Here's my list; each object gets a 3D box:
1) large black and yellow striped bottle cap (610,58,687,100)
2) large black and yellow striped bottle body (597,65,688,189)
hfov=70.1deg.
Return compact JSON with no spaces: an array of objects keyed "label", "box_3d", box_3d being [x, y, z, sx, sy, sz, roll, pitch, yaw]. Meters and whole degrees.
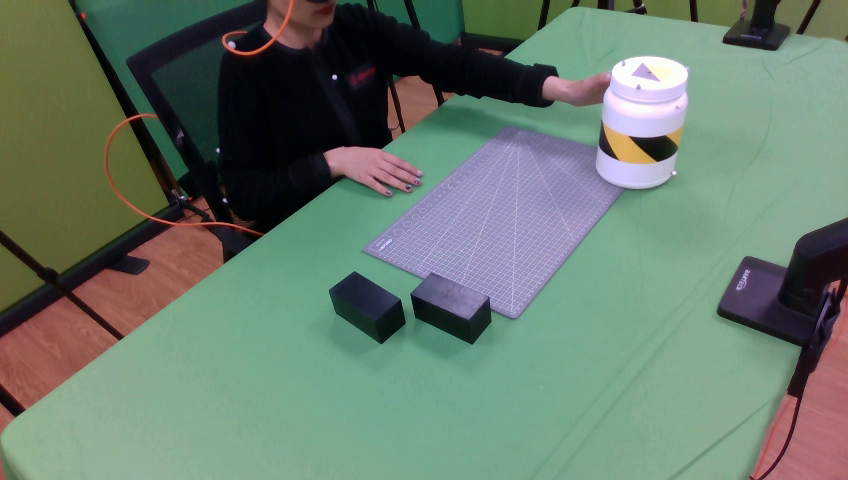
[{"label":"large black and yellow striped bottle cap","box_3d":[0.355,-0.257,0.958,0.115,0.019,0.114,-2,41,3]},{"label":"large black and yellow striped bottle body","box_3d":[0.363,-0.193,1.011,0.131,0.185,0.130,-4,40,4]}]
